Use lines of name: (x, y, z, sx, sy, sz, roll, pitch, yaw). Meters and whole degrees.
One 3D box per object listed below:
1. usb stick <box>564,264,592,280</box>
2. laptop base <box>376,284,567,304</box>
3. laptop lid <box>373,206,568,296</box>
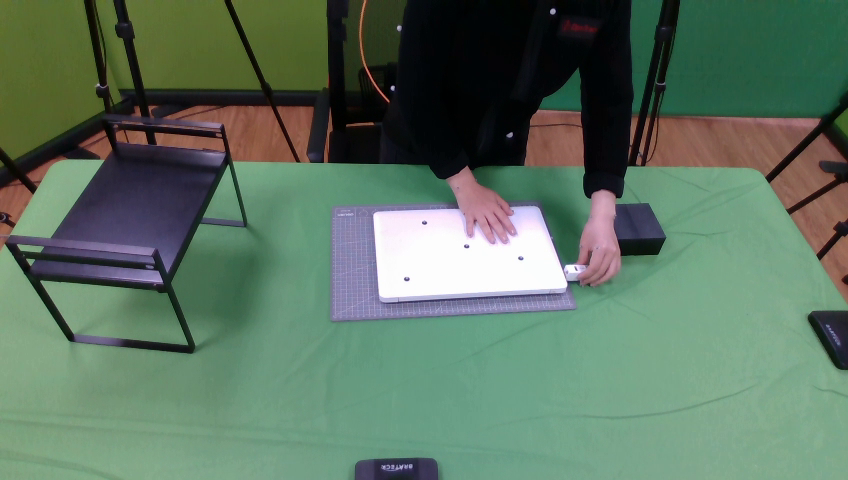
usb stick: (0.284, 0.061, 1.144, 0.059, 0.027, 0.021, -2, 50, -6)
laptop base: (0.081, 0.025, 1.181, 0.355, 0.023, 0.234, -3, 43, -6)
laptop lid: (0.081, 0.015, 1.174, 0.357, 0.013, 0.240, -1, 44, -5)
